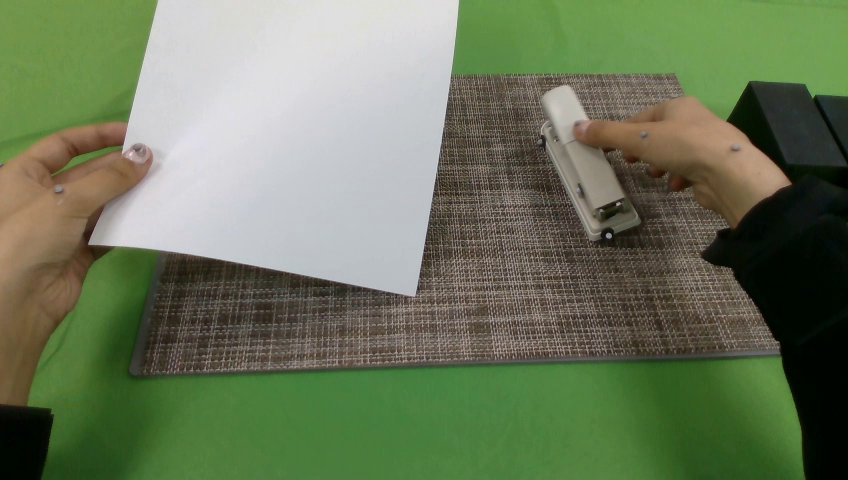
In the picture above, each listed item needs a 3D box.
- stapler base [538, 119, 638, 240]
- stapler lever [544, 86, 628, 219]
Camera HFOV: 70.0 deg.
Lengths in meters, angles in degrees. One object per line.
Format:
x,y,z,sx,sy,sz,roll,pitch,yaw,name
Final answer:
0.130,-0.061,0.496,0.041,0.025,0.129,-20,57,6,stapler base
0.124,-0.073,0.475,0.027,0.040,0.117,-20,56,6,stapler lever
